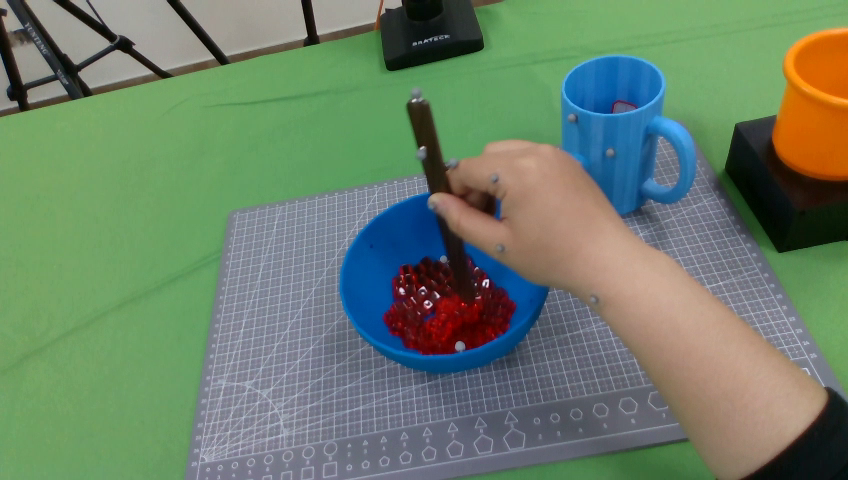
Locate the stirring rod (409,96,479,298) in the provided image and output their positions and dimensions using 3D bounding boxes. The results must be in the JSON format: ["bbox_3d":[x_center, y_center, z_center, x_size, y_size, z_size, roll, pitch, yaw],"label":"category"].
[{"bbox_3d":[0.016,-0.017,0.385,0.014,0.178,0.006,4,50,20],"label":"stirring rod"}]

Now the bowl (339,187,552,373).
[{"bbox_3d":[0.020,0.041,0.447,0.151,0.077,0.150,-6,49,8],"label":"bowl"}]

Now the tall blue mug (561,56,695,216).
[{"bbox_3d":[0.167,-0.080,0.494,0.106,0.109,0.077,11,53,21],"label":"tall blue mug"}]
